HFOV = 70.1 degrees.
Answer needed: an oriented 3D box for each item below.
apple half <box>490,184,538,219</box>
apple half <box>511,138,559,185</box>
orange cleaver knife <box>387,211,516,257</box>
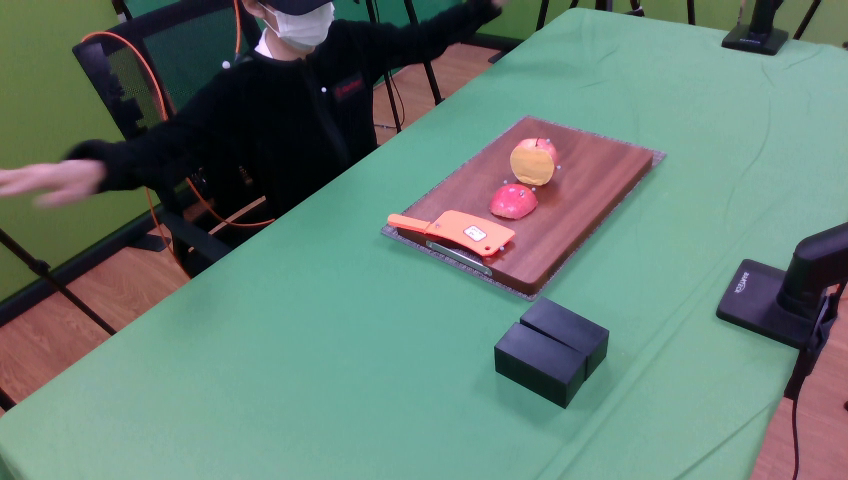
[{"bbox_3d":[0.145,-0.069,0.983,0.081,0.033,0.081,-4,38,3],"label":"apple half"},{"bbox_3d":[0.192,-0.137,1.024,0.080,0.075,0.053,11,40,27],"label":"apple half"},{"bbox_3d":[0.040,-0.020,0.953,0.210,0.012,0.077,16,48,29],"label":"orange cleaver knife"}]
